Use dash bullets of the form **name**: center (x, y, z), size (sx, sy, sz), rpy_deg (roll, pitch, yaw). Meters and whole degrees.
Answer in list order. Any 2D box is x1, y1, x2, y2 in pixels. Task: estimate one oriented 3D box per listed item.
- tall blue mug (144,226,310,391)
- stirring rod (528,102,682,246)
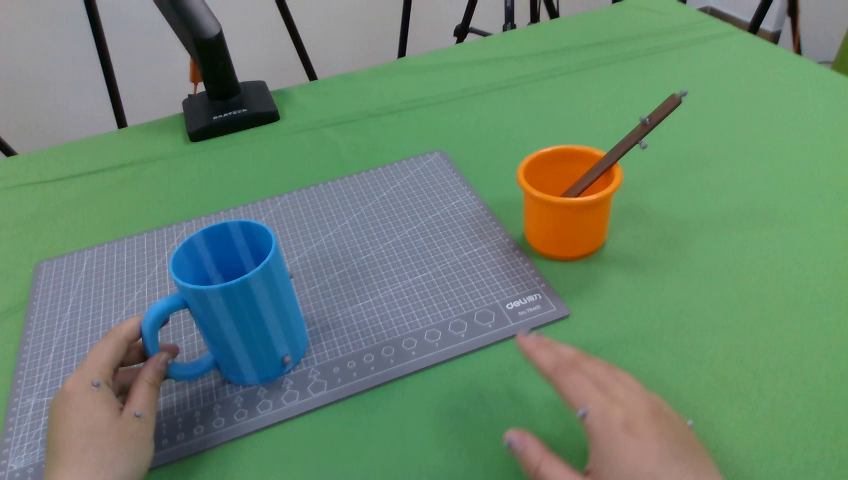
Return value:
- **tall blue mug**: center (-0.144, 0.063, 0.460), size (0.077, 0.109, 0.106), rpy_deg (11, 43, 20)
- **stirring rod**: center (0.158, -0.056, 0.544), size (0.176, 0.006, 0.014), rpy_deg (-46, 38, 21)
